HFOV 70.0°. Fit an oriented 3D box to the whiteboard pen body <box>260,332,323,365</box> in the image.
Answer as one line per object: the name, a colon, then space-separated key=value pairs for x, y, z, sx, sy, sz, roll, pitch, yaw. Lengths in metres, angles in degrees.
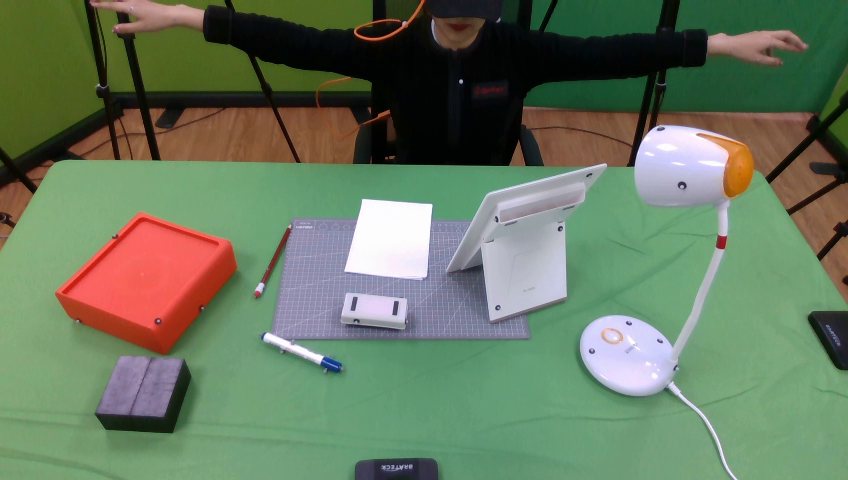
whiteboard pen body: x=-0.208 y=0.184 z=1.003 sx=0.140 sy=0.017 sz=0.017 roll=20 pitch=48 yaw=12

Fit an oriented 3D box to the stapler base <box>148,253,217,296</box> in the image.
stapler base: x=-0.443 y=0.059 z=1.109 sx=0.130 sy=0.024 sz=0.041 roll=24 pitch=50 yaw=10

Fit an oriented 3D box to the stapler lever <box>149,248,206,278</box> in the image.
stapler lever: x=-0.442 y=0.037 z=1.084 sx=0.118 sy=0.040 sz=0.027 roll=19 pitch=49 yaw=17

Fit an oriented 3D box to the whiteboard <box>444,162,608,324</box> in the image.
whiteboard: x=0.186 y=0.026 z=1.028 sx=0.217 sy=0.306 sz=0.143 roll=-14 pitch=68 yaw=-18

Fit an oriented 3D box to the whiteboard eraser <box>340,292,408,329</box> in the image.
whiteboard eraser: x=-0.087 y=0.125 z=1.052 sx=0.113 sy=0.042 sz=0.055 roll=5 pitch=45 yaw=1

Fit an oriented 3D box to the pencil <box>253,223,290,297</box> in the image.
pencil: x=-0.286 y=0.033 z=1.150 sx=0.012 sy=0.012 sz=0.193 roll=9 pitch=46 yaw=4

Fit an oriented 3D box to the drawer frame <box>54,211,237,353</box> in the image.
drawer frame: x=-0.473 y=0.067 z=1.055 sx=0.201 sy=0.083 sz=0.212 roll=17 pitch=48 yaw=11

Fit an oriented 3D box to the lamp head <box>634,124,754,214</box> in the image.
lamp head: x=0.351 y=-0.089 z=0.775 sx=0.112 sy=0.113 sz=0.122 roll=-30 pitch=30 yaw=-28

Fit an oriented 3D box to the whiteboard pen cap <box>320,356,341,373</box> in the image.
whiteboard pen cap: x=-0.154 y=0.203 z=0.992 sx=0.033 sy=0.018 sz=0.018 roll=21 pitch=48 yaw=12

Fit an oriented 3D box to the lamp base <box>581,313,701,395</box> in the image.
lamp base: x=0.361 y=0.144 z=0.973 sx=0.178 sy=0.181 sz=0.160 roll=34 pitch=53 yaw=23

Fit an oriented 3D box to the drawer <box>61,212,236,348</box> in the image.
drawer: x=-0.473 y=0.064 z=1.060 sx=0.194 sy=0.073 sz=0.211 roll=18 pitch=48 yaw=11
